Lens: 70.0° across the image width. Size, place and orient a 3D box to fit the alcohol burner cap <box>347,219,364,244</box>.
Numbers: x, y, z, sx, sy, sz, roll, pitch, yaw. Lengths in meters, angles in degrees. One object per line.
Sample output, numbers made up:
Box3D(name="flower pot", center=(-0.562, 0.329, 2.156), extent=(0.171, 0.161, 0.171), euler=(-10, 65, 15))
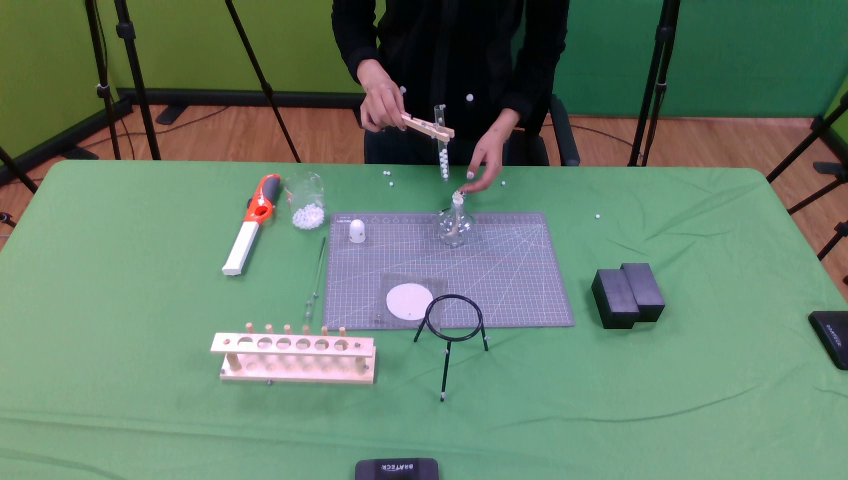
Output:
Box3D(name="alcohol burner cap", center=(-0.134, -0.019, 1.190), extent=(0.034, 0.048, 0.033), euler=(2, 46, -2))

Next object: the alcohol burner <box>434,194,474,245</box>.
Box3D(name="alcohol burner", center=(0.061, -0.046, 1.183), extent=(0.078, 0.119, 0.077), euler=(3, 47, -3))

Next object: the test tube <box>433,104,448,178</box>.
Box3D(name="test tube", center=(0.030, -0.172, 1.077), extent=(0.017, 0.151, 0.017), euler=(-4, 42, 4))

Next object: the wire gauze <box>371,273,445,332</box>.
Box3D(name="wire gauze", center=(-0.028, 0.108, 1.100), extent=(0.125, 0.011, 0.121), euler=(7, 45, 4))

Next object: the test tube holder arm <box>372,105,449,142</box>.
Box3D(name="test tube holder arm", center=(-0.028, -0.212, 1.092), extent=(0.177, 0.015, 0.013), euler=(26, 45, 29))

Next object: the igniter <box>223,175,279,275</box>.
Box3D(name="igniter", center=(-0.341, -0.039, 1.207), extent=(0.057, 0.025, 0.275), euler=(-1, 45, 8))

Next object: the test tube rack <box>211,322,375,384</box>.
Box3D(name="test tube rack", center=(-0.202, 0.176, 0.969), extent=(0.242, 0.085, 0.066), euler=(3, 46, -2))

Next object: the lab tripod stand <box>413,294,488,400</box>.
Box3D(name="lab tripod stand", center=(0.044, 0.159, 0.972), extent=(0.148, 0.132, 0.147), euler=(2, 44, -2))

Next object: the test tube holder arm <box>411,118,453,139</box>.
Box3D(name="test tube holder arm", center=(0.012, -0.198, 1.075), extent=(0.087, 0.015, 0.010), euler=(21, 43, 24))

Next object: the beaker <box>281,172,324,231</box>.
Box3D(name="beaker", center=(-0.234, -0.073, 1.199), extent=(0.084, 0.101, 0.074), euler=(24, 50, 17))

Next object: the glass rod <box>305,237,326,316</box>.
Box3D(name="glass rod", center=(-0.202, 0.064, 1.131), extent=(0.008, 0.008, 0.198), euler=(4, 43, 0))
